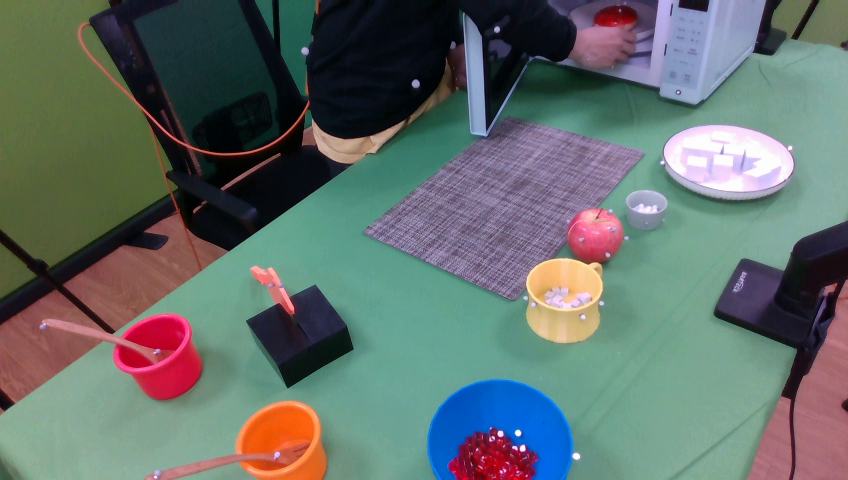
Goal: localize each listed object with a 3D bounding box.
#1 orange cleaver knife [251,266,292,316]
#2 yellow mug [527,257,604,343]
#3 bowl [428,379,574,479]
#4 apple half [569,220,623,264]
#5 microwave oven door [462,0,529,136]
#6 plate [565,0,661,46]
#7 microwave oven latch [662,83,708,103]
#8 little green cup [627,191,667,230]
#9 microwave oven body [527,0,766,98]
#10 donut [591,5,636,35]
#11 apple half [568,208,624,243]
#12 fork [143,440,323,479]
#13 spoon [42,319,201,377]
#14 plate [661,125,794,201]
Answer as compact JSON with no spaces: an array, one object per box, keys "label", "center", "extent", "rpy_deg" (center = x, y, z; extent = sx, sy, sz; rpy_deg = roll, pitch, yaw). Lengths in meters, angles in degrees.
[{"label":"orange cleaver knife","center":[-0.221,0.071,0.873],"extent":[0.012,0.077,0.210],"rpy_deg":[-25,11,-21]},{"label":"yellow mug","center":[0.201,0.072,0.825],"extent":[0.131,0.064,0.099],"rpy_deg":[-32,46,-27]},{"label":"bowl","center":[0.082,0.233,0.644],"extent":[0.151,0.077,0.150],"rpy_deg":[-4,39,4]},{"label":"apple half","center":[0.251,0.010,0.884],"extent":[0.081,0.081,0.032],"rpy_deg":[3,37,13]},{"label":"microwave oven door","center":[0.155,-0.410,1.236],"extent":[0.039,0.245,0.355],"rpy_deg":[10,43,20]},{"label":"plate","center":[0.427,-0.489,1.375],"extent":[0.209,0.038,0.208],"rpy_deg":[-5,40,5]},{"label":"microwave oven latch","center":[0.518,-0.296,1.204],"extent":[0.078,0.029,0.030],"rpy_deg":[28,52,36]},{"label":"little green cup","center":[0.352,-0.046,0.963],"extent":[0.061,0.039,0.061],"rpy_deg":[-4,40,3]},{"label":"microwave oven body","center":[0.472,-0.513,1.317],"extent":[0.438,0.261,0.327],"rpy_deg":[25,51,34]},{"label":"donut","center":[0.426,-0.497,1.363],"extent":[0.099,0.048,0.098],"rpy_deg":[-2,41,2]},{"label":"apple half","center":[0.259,-0.014,0.914],"extent":[0.080,0.075,0.053],"rpy_deg":[0,36,15]},{"label":"fork","center":[-0.190,0.231,0.631],"extent":[0.028,0.018,0.209],"rpy_deg":[38,14,37]},{"label":"spoon","center":[-0.385,0.135,0.779],"extent":[0.195,0.021,0.041],"rpy_deg":[29,37,-26]},{"label":"plate","center":[0.514,-0.128,1.035],"extent":[0.207,0.039,0.206],"rpy_deg":[-4,40,4]}]
